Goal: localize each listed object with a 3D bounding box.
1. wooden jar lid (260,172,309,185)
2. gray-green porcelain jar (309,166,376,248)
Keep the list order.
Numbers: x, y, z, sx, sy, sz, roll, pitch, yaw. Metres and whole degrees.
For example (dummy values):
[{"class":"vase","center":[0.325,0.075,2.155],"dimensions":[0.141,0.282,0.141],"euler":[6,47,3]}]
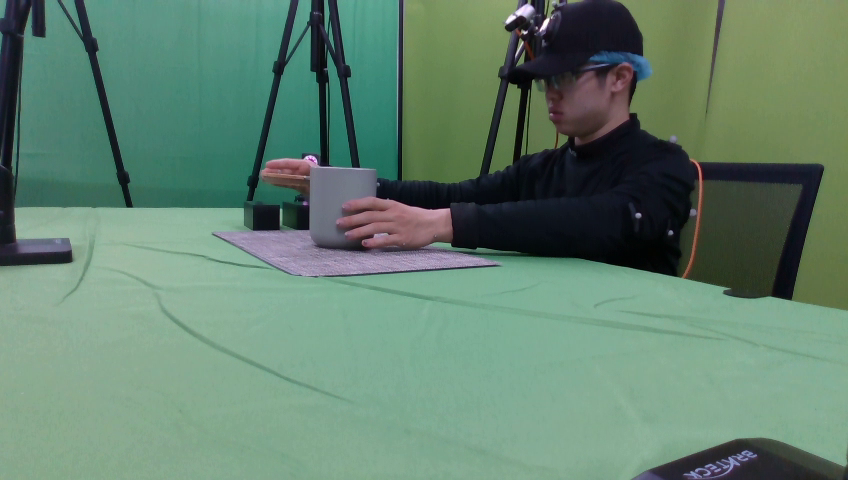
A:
[{"class":"wooden jar lid","center":[-0.273,-0.123,1.214],"dimensions":[0.108,0.020,0.108],"euler":[6,6,0]},{"class":"gray-green porcelain jar","center":[-0.130,-0.054,0.966],"dimensions":[0.106,0.126,0.106],"euler":[2,8,0]}]
